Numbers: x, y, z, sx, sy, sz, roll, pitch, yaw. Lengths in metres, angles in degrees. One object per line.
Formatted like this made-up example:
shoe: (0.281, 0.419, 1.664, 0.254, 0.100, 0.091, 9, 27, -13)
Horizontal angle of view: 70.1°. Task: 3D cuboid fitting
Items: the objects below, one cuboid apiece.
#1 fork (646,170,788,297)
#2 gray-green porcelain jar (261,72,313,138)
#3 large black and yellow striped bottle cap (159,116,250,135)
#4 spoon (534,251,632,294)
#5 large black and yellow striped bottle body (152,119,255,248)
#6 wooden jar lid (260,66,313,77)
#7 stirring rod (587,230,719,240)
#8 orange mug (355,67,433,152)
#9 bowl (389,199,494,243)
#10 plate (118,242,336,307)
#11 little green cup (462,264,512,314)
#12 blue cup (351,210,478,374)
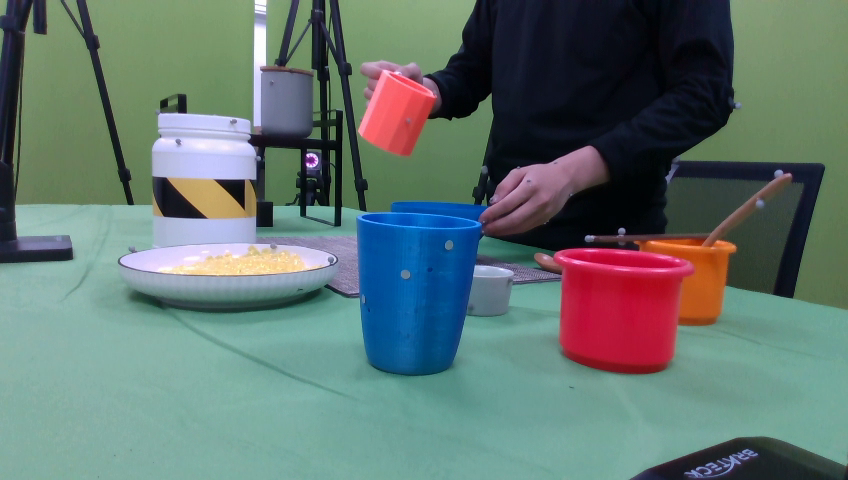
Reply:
fork: (0.256, 0.004, 0.543, 0.028, 0.018, 0.207, 3, -36, -9)
gray-green porcelain jar: (-0.284, -0.276, 1.253, 0.106, 0.126, 0.106, 2, 8, 0)
large black and yellow striped bottle cap: (-0.292, -0.153, 0.810, 0.115, 0.019, 0.115, 3, 8, 0)
spoon: (0.193, 0.038, 0.753, 0.042, 0.021, 0.193, 15, 2, -21)
large black and yellow striped bottle body: (-0.296, -0.070, 0.819, 0.131, 0.184, 0.130, 2, 7, 0)
wooden jar lid: (-0.283, -0.339, 1.245, 0.108, 0.020, 0.108, 5, 8, 0)
stirring rod: (0.226, -0.005, 0.587, 0.177, 0.006, 0.014, -2, 9, -29)
orange mug: (-0.050, -0.200, 0.898, 0.084, 0.100, 0.125, 14, 26, -28)
bowl: (0.023, -0.015, 0.872, 0.151, 0.077, 0.151, 3, 7, 0)
plate: (-0.194, 0.033, 0.615, 0.209, 0.038, 0.209, 2, 7, 0)
little green cup: (0.053, 0.047, 0.580, 0.061, 0.038, 0.061, 3, 8, 0)
blue cup: (-0.009, 0.034, 0.414, 0.093, 0.100, 0.092, 4, 8, 0)
